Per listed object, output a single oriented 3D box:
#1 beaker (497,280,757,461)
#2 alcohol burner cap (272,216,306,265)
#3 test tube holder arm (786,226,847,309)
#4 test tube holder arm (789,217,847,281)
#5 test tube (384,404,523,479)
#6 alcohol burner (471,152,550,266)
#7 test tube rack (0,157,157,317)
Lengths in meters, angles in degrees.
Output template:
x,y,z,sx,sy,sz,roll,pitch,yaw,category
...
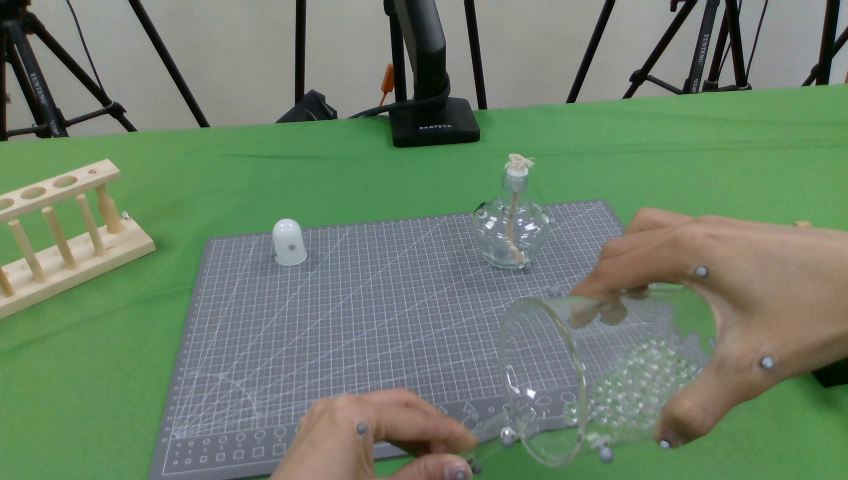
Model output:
x,y,z,sx,sy,sz,roll,pitch,yaw,category
0.095,0.059,0.288,0.100,0.084,0.073,-4,50,-19,beaker
-0.139,-0.001,0.615,0.034,0.048,0.033,-1,37,1,alcohol burner cap
0.342,0.041,0.491,0.015,0.013,0.176,0,37,1,test tube holder arm
0.343,0.009,0.523,0.015,0.010,0.087,0,38,1,test tube holder arm
-0.007,0.131,0.330,0.150,0.017,0.017,-39,31,23,test tube
0.086,-0.033,0.591,0.078,0.120,0.077,1,38,0,alcohol burner
-0.396,0.012,0.574,0.242,0.086,0.066,-30,46,-32,test tube rack
